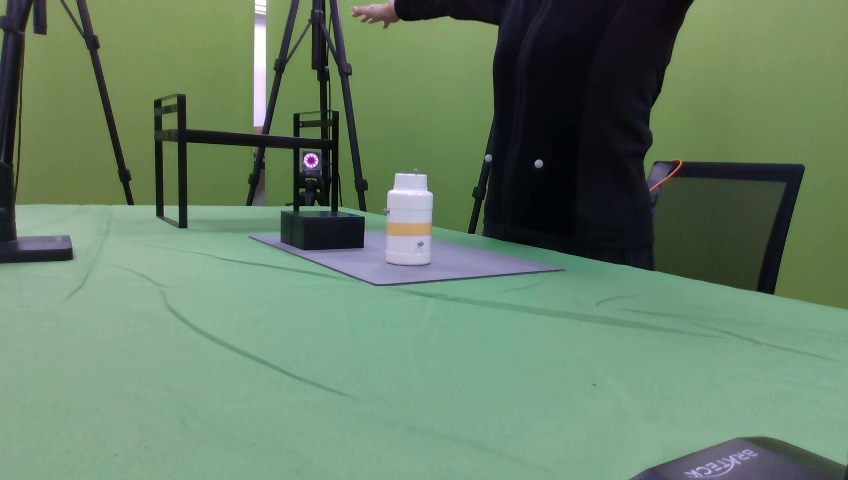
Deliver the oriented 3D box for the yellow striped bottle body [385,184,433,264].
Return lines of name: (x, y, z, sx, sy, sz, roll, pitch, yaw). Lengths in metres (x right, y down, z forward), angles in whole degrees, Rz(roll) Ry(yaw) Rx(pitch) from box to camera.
yellow striped bottle body: (-0.020, -0.031, 0.815, 0.063, 0.120, 0.063, 2, 7, 0)

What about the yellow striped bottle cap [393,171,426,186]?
yellow striped bottle cap: (-0.019, -0.082, 0.808, 0.044, 0.018, 0.044, 5, 9, 0)
